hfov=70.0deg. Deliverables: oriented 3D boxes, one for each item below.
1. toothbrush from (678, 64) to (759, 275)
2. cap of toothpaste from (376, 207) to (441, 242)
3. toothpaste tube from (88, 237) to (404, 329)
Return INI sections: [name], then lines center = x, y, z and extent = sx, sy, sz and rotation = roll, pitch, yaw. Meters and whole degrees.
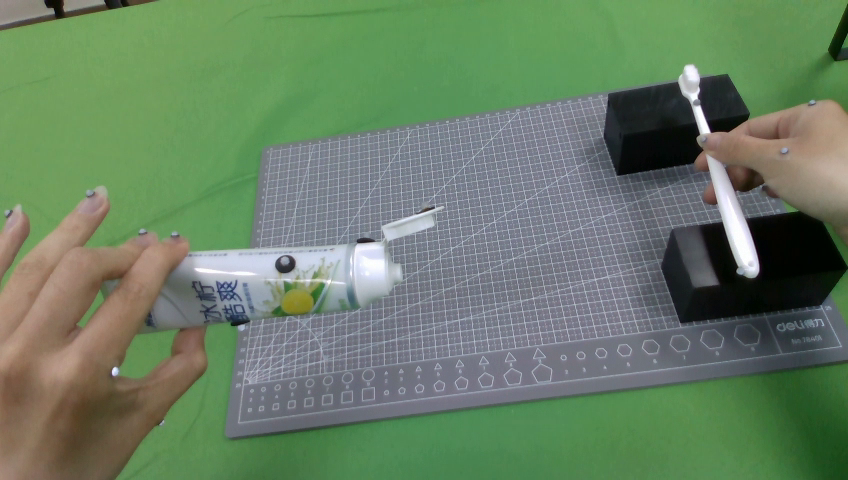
[toothbrush]
center = 0.206, -0.057, 0.427
extent = 0.014, 0.017, 0.180
rotation = -2, 59, 3
[cap of toothpaste]
center = -0.007, -0.008, 0.316
extent = 0.037, 0.037, 0.011
rotation = -21, 92, -4
[toothpaste tube]
center = -0.093, 0.020, 0.325
extent = 0.165, 0.055, 0.034
rotation = -6, 27, 5
